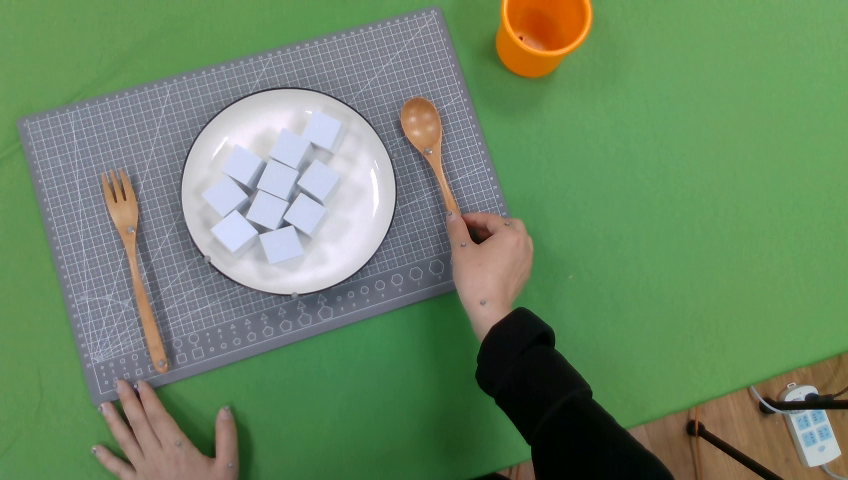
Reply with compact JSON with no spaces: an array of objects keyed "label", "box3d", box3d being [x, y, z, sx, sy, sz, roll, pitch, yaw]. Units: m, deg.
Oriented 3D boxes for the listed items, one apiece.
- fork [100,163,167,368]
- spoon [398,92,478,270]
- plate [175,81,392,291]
[{"label":"fork","box3d":[-0.282,0.025,0.594,0.028,0.018,0.206,-15,84,-12]},{"label":"spoon","box3d":[0.018,-0.060,0.626,0.041,0.021,0.193,-19,84,-4]},{"label":"plate","box3d":[-0.137,-0.053,0.606,0.208,0.039,0.207,1,84,-5]}]
